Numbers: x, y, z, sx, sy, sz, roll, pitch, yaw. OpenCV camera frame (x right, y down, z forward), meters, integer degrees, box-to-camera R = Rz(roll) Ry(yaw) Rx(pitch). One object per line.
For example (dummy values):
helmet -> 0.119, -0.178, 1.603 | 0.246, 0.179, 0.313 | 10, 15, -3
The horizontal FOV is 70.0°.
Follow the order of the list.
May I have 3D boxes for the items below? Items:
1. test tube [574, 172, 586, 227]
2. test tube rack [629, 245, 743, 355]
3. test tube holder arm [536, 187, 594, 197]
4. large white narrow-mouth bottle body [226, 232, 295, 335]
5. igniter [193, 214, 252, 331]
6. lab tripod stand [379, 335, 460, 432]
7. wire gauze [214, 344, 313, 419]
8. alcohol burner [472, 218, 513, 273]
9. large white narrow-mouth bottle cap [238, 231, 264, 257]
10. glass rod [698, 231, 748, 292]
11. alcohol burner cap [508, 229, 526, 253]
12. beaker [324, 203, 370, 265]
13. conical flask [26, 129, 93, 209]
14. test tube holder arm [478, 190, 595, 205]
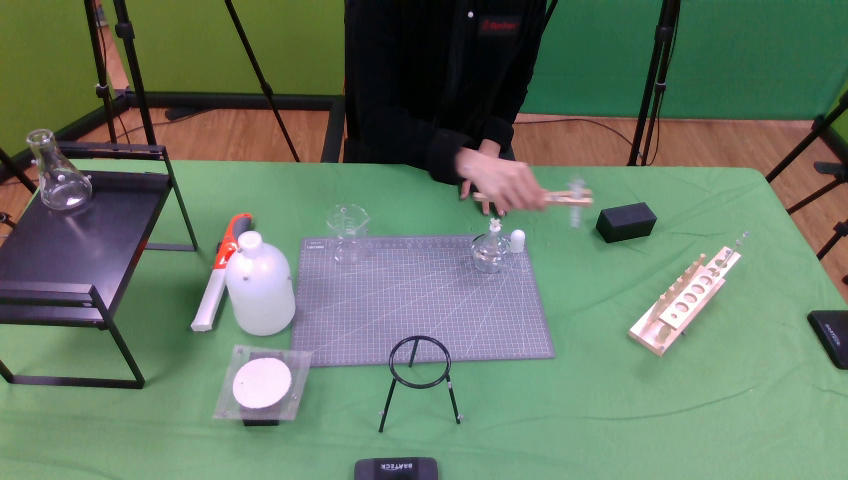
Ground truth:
test tube -> 0.243, -0.060, 0.948 | 0.017, 0.151, 0.017 | -5, 62, 11
test tube rack -> 0.474, 0.095, 1.091 | 0.242, 0.085, 0.066 | -34, 57, -31
test tube holder arm -> 0.218, -0.071, 0.939 | 0.088, 0.015, 0.010 | -4, 65, 4
large white narrow-mouth bottle body -> -0.270, 0.065, 0.995 | 0.102, 0.195, 0.101 | 2, 46, -2
igniter -> -0.368, 0.050, 1.119 | 0.057, 0.025, 0.275 | -3, 46, 7
lab tripod stand -> -0.011, 0.214, 0.911 | 0.148, 0.132, 0.147 | 1, 45, 0
wire gauze -> -0.241, 0.213, 0.915 | 0.121, 0.011, 0.124 | 5, 46, 1
alcohol burner -> 0.128, 0.005, 1.132 | 0.078, 0.120, 0.077 | 0, 47, 0
large white narrow-mouth bottle cap -> -0.266, 0.006, 0.932 | 0.038, 0.024, 0.037 | 2, 46, -2
glass rod -> 0.514, 0.044, 1.051 | 0.008, 0.200, 0.008 | 1, 55, -1
alcohol burner cap -> 0.185, -0.002, 1.192 | 0.034, 0.048, 0.033 | 3, 45, -2
beaker -> -0.142, -0.009, 1.137 | 0.084, 0.101, 0.073 | -3, 47, -7
conical flask -> -0.575, -0.113, 0.946 | 0.075, 0.122, 0.075 | 2, 46, -2
test tube holder arm -> 0.173, -0.067, 0.942 | 0.178, 0.015, 0.013 | 3, 66, 8
